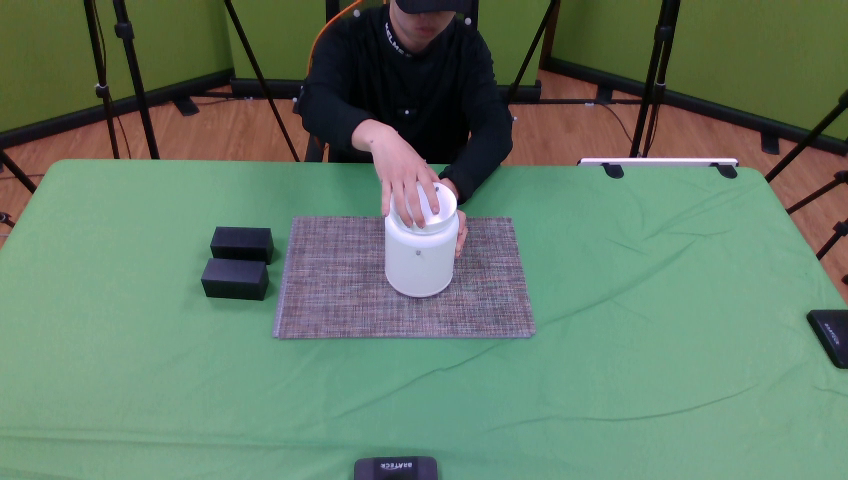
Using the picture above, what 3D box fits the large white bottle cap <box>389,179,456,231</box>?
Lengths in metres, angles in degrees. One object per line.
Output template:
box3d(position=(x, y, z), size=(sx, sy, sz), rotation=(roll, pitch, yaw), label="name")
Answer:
box3d(position=(-0.003, -0.060, 1.020), size=(0.115, 0.018, 0.114), rotation=(2, 46, -2), label="large white bottle cap")

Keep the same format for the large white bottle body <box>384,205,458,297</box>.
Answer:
box3d(position=(-0.007, -0.002, 1.081), size=(0.131, 0.185, 0.130), rotation=(2, 46, -2), label="large white bottle body")
